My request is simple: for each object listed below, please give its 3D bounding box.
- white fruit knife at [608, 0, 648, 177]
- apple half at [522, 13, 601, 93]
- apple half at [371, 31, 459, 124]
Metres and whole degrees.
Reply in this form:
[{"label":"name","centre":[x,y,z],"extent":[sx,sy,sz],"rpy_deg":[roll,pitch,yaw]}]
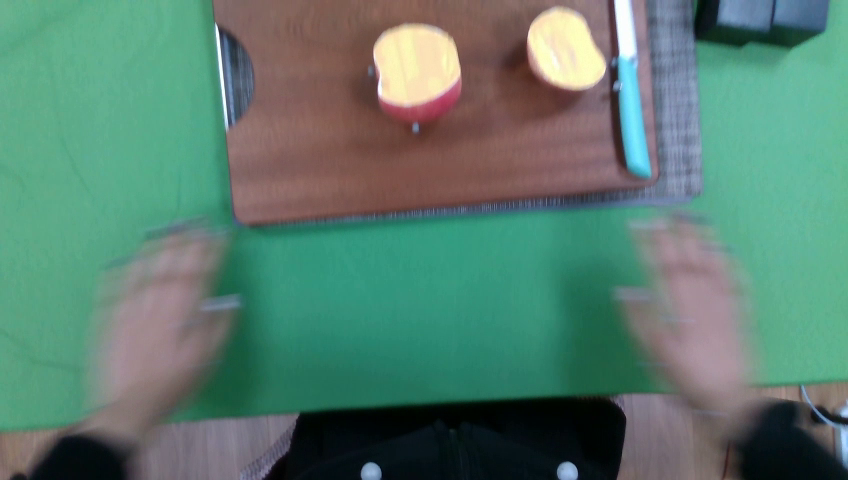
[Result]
[{"label":"white fruit knife","centre":[0.186,-0.162,0.566],"extent":[0.027,0.016,0.207],"rpy_deg":[-7,89,-30]},{"label":"apple half","centre":[0.117,-0.163,0.551],"extent":[0.082,0.033,0.081],"rpy_deg":[6,73,-20]},{"label":"apple half","centre":[-0.007,-0.138,0.539],"extent":[0.074,0.054,0.080],"rpy_deg":[-15,68,1]}]
